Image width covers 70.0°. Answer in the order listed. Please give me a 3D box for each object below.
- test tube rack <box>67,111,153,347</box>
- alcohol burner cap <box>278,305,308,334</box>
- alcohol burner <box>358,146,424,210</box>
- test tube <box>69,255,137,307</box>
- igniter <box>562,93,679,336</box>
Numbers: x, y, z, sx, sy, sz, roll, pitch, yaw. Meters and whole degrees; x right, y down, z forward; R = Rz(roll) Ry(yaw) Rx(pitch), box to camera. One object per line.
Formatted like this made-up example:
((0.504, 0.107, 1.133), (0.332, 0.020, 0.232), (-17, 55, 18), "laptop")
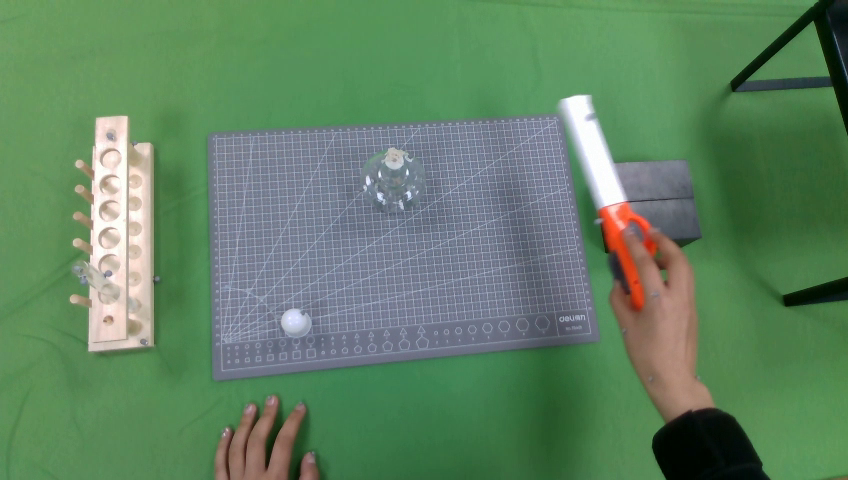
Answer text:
((-0.346, -0.010, 0.664), (0.067, 0.085, 0.241), (-4, 77, -6), "test tube rack")
((-0.149, 0.087, 0.679), (0.034, 0.048, 0.033), (2, 76, -6), "alcohol burner cap")
((-0.038, -0.078, 0.694), (0.078, 0.119, 0.077), (1, 77, -4), "alcohol burner")
((-0.315, 0.044, 0.602), (0.017, 0.151, 0.017), (3, 71, -8), "test tube")
((0.207, -0.029, 0.644), (0.057, 0.025, 0.275), (-14, 79, -13), "igniter")
